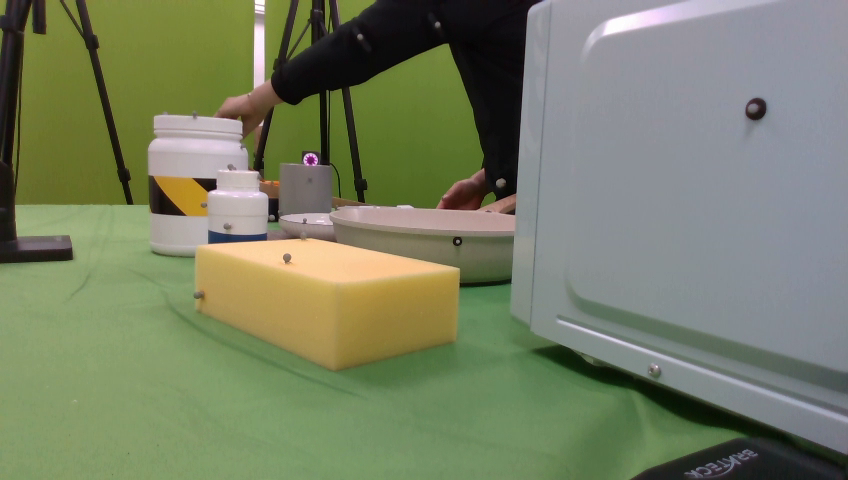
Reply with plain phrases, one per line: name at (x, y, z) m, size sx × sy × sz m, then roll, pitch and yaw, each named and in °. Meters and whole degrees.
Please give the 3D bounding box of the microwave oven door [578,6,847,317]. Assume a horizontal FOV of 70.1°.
microwave oven door at (0.294, -0.067, 0.570) m, size 0.358 × 0.243 × 0.039 m, roll -3°, pitch 9°, yaw -31°

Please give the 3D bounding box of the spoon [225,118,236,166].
spoon at (-0.426, -0.217, 1.332) m, size 0.022 × 0.041 × 0.193 m, roll -5°, pitch -19°, yaw -19°

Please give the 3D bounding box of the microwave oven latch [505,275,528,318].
microwave oven latch at (0.100, 0.041, 0.472) m, size 0.079 × 0.029 × 0.030 m, roll -2°, pitch 8°, yaw -30°

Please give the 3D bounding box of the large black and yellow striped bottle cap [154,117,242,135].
large black and yellow striped bottle cap at (-0.314, -0.158, 0.843) m, size 0.115 × 0.019 × 0.115 m, roll 3°, pitch 7°, yaw 0°

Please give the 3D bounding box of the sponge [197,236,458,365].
sponge at (-0.087, 0.039, 0.500) m, size 0.206 × 0.061 × 0.119 m, roll 8°, pitch 9°, yaw 44°

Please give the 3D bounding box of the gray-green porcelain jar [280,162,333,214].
gray-green porcelain jar at (-0.238, -0.092, 1.221) m, size 0.106 × 0.126 × 0.106 m, roll 2°, pitch 7°, yaw 0°

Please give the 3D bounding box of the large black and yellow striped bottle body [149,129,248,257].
large black and yellow striped bottle body at (-0.315, -0.075, 0.854) m, size 0.131 × 0.184 × 0.130 m, roll 2°, pitch 8°, yaw 0°

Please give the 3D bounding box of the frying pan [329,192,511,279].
frying pan at (0.072, -0.030, 0.883) m, size 0.305 × 0.102 × 0.490 m, roll 7°, pitch 17°, yaw 27°

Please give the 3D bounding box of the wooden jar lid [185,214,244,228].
wooden jar lid at (-0.404, -0.037, 1.169) m, size 0.108 × 0.020 × 0.108 m, roll 3°, pitch 7°, yaw 0°

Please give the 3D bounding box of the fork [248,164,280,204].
fork at (-0.397, -0.143, 1.487) m, size 0.028 × 0.018 × 0.208 m, roll 21°, pitch -25°, yaw 46°

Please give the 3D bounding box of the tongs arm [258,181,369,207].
tongs arm at (-0.242, -0.095, 1.374) m, size 0.387 × 0.026 × 0.050 m, roll 9°, pitch 0°, yaw -37°

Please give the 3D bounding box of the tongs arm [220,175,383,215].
tongs arm at (-0.285, -0.105, 1.445) m, size 0.389 × 0.027 × 0.028 m, roll 10°, pitch -4°, yaw -23°

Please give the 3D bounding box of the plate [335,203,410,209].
plate at (-0.089, -0.053, 1.309) m, size 0.208 × 0.039 × 0.207 m, roll 2°, pitch 8°, yaw 0°

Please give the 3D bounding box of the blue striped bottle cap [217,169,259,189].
blue striped bottle cap at (-0.202, -0.067, 0.657) m, size 0.044 × 0.020 × 0.044 m, roll 0°, pitch 11°, yaw 0°

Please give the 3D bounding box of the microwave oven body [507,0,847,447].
microwave oven body at (0.331, -0.042, 0.425) m, size 0.444 × 0.260 × 0.324 m, roll -2°, pitch 8°, yaw -31°

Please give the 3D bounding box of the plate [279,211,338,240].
plate at (-0.139, -0.022, 1.021) m, size 0.209 × 0.038 × 0.209 m, roll 2°, pitch 8°, yaw 0°

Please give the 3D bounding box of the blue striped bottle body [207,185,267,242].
blue striped bottle body at (-0.204, -0.016, 0.663) m, size 0.063 × 0.120 × 0.063 m, roll 2°, pitch 7°, yaw 0°
